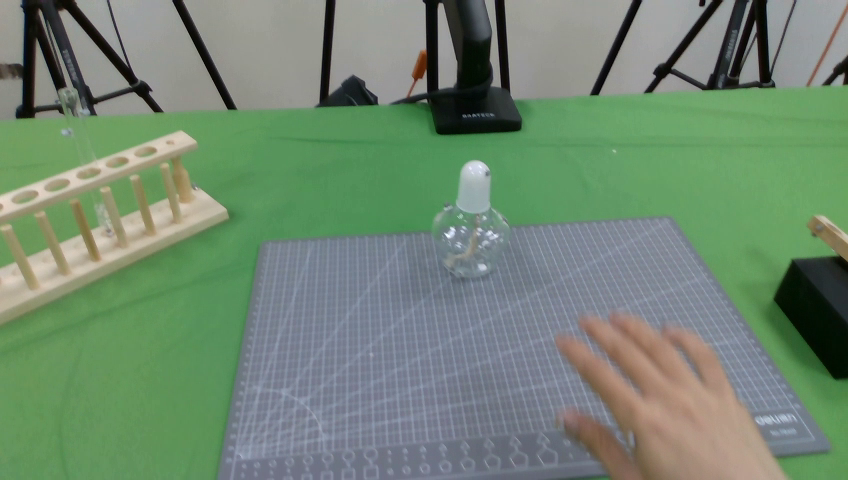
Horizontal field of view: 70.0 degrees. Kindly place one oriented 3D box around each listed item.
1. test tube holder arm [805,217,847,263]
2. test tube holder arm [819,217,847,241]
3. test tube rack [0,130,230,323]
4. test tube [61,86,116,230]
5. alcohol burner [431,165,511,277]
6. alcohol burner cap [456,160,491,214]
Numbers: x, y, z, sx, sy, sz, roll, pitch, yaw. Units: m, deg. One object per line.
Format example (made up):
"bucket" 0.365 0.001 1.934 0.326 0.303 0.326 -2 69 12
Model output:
"test tube holder arm" 0.380 0.010 0.545 0.010 0.015 0.087 -6 40 -15
"test tube holder arm" 0.397 0.037 0.514 0.013 0.015 0.176 -6 40 -15
"test tube rack" -0.324 -0.020 0.599 0.242 0.086 0.066 -31 48 -33
"test tube" -0.323 -0.075 0.588 0.017 0.151 0.017 2 34 -1
"alcohol burner" 0.046 -0.023 0.579 0.078 0.120 0.077 1 40 -1
"alcohol burner cap" 0.047 -0.051 0.557 0.034 0.048 0.033 2 37 -1
